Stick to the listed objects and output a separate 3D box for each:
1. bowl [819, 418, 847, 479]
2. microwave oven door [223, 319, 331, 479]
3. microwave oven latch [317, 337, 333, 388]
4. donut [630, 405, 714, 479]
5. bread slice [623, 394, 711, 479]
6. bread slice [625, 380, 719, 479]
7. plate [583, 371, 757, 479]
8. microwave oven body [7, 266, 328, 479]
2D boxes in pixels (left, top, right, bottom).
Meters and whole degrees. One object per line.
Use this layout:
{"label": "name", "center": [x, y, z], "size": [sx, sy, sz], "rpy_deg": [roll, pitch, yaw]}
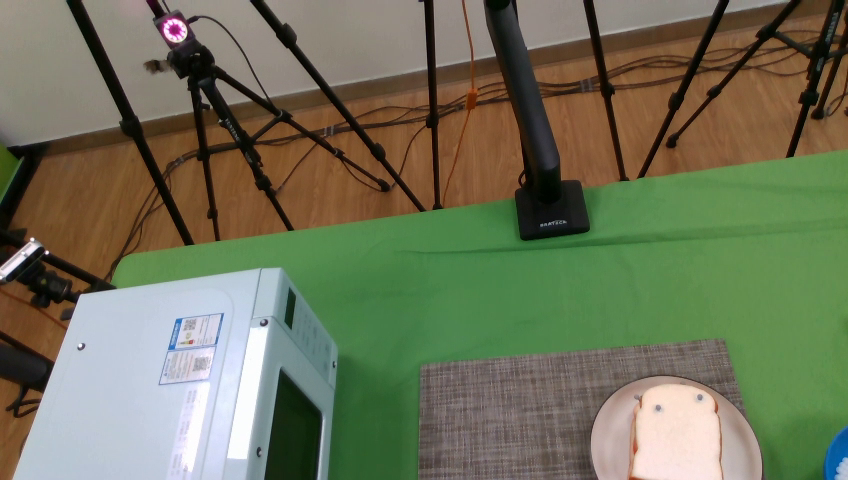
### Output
{"label": "bowl", "center": [0.532, 0.284, 0.698], "size": [0.151, 0.077, 0.150], "rpy_deg": [-7, 53, 9]}
{"label": "microwave oven door", "center": [-0.178, 0.307, 0.742], "size": [0.039, 0.246, 0.352], "rpy_deg": [-9, 52, 9]}
{"label": "microwave oven latch", "center": [-0.160, 0.193, 0.952], "size": [0.030, 0.030, 0.078], "rpy_deg": [-8, 53, 8]}
{"label": "donut", "center": [0.310, 0.257, 0.760], "size": [0.099, 0.049, 0.098], "rpy_deg": [-6, 56, 9]}
{"label": "bread slice", "center": [0.313, 0.267, 0.790], "size": [0.107, 0.018, 0.133], "rpy_deg": [0, 54, 14]}
{"label": "bread slice", "center": [0.304, 0.234, 0.744], "size": [0.104, 0.019, 0.130], "rpy_deg": [0, 52, 22]}
{"label": "plate", "center": [0.313, 0.273, 0.786], "size": [0.207, 0.039, 0.205], "rpy_deg": [-7, 53, 10]}
{"label": "microwave oven body", "center": [-0.321, 0.299, 0.793], "size": [0.326, 0.263, 0.437], "rpy_deg": [-8, 53, 8]}
